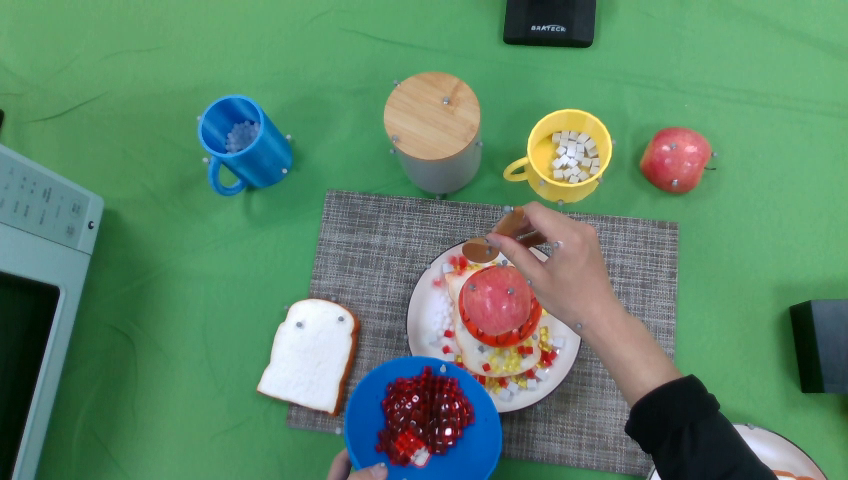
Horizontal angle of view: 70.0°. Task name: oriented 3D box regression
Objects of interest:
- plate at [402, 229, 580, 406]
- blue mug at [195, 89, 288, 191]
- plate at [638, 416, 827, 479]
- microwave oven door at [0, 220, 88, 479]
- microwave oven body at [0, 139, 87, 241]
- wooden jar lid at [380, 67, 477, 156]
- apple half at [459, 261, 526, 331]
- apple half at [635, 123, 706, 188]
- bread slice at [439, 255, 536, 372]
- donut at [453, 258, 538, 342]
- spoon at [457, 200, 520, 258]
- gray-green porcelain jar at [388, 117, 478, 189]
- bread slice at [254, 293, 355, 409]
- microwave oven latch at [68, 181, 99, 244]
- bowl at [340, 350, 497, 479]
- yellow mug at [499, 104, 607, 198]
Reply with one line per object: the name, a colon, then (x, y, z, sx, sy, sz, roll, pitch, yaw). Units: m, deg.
plate: (0.078, 0.091, 0.723, 0.207, 0.039, 0.206, -1, 77, 5)
blue mug: (-0.237, -0.116, 0.770, 0.082, 0.106, 0.116, 27, 81, 11)
plate: (0.331, 0.296, 0.654, 0.209, 0.038, 0.208, -1, 76, 6)
microwave oven door: (-0.490, 0.152, 0.642, 0.039, 0.245, 0.354, 6, 77, 8)
microwave oven body: (-0.628, 0.097, 0.674, 0.325, 0.261, 0.440, 6, 78, 7)
wooden jar lid: (0.005, -0.141, 0.677, 0.108, 0.021, 0.108, -1, 75, 3)
apple half: (0.076, 0.059, 0.664, 0.081, 0.033, 0.081, -3, 74, 11)
apple half: (0.305, -0.110, 0.744, 0.074, 0.053, 0.080, 28, 81, 14)
bread slice: (0.082, 0.089, 0.723, 0.107, 0.018, 0.133, -11, 79, 2)
donut: (0.083, 0.069, 0.699, 0.099, 0.048, 0.098, -1, 77, 6)
spoon: (0.065, -0.007, 0.584, 0.042, 0.194, 0.021, 14, 79, -4)
gray-green porcelain jar: (0.013, -0.126, 0.738, 0.106, 0.127, 0.105, -1, 76, 5)
bread slice: (-0.144, 0.131, 0.746, 0.105, 0.019, 0.131, 14, 80, 7)
microwave oven latch: (-0.449, -0.036, 0.787, 0.030, 0.029, 0.079, 10, 79, 8)
bowl: (-0.010, 0.192, 0.593, 0.152, 0.077, 0.150, 7, 46, -7)
yellow mug: (0.156, -0.104, 0.750, 0.131, 0.064, 0.099, -16, 76, 3)
